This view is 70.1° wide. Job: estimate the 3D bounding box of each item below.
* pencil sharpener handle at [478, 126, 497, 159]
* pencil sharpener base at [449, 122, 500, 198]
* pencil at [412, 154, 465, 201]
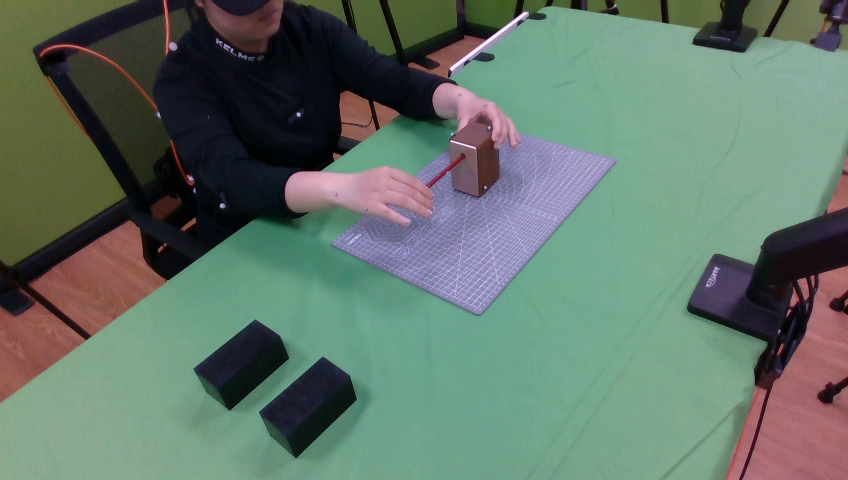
[{"bbox_3d":[0.118,-0.179,1.075,0.035,0.068,0.031,22,48,28],"label":"pencil sharpener handle"},{"bbox_3d":[0.090,-0.140,1.052,0.061,0.107,0.077,21,47,30],"label":"pencil sharpener base"},{"bbox_3d":[0.039,-0.116,0.987,0.012,0.012,0.194,20,45,29],"label":"pencil"}]
